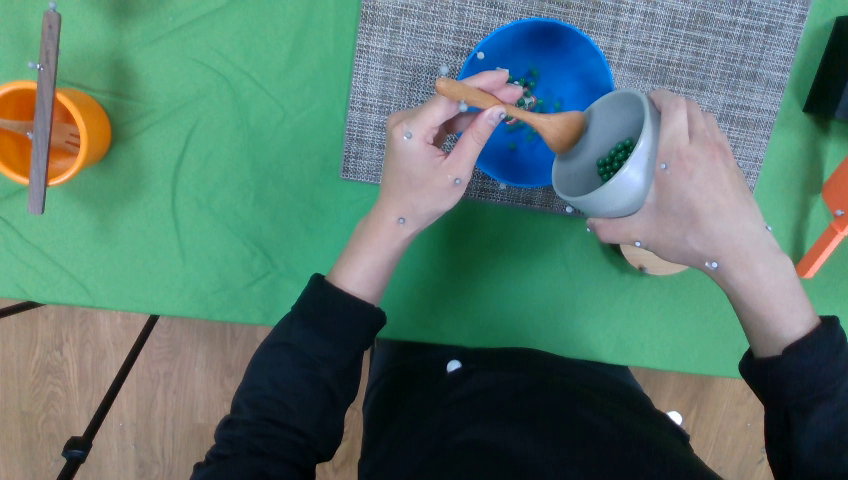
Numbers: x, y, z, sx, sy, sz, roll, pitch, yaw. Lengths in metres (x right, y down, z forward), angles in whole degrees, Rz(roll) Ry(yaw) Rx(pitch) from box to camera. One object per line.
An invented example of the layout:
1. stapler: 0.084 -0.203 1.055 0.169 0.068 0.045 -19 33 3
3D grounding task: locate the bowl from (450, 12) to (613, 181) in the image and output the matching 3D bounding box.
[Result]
1. bowl: 0.096 -0.137 0.584 0.151 0.076 0.152 -1 107 -5

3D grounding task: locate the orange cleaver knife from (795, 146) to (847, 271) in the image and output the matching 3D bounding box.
1. orange cleaver knife: 0.452 -0.055 0.642 0.012 0.076 0.213 3 136 -9

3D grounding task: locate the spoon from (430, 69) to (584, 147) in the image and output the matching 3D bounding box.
1. spoon: 0.071 -0.104 0.471 0.195 0.021 0.042 5 122 -43

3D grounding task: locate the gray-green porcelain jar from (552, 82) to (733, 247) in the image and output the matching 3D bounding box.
1. gray-green porcelain jar: 0.193 -0.059 0.529 0.127 0.105 0.106 27 103 -25

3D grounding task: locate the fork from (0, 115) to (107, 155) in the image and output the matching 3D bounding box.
1. fork: -0.379 -0.109 0.515 0.028 0.018 0.209 -52 148 17

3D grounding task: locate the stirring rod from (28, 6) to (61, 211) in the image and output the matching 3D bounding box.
1. stirring rod: -0.325 -0.109 0.519 0.014 0.006 0.176 11 106 -11

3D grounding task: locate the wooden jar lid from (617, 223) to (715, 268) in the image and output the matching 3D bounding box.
1. wooden jar lid: 0.263 -0.022 0.663 0.108 0.020 0.109 -1 112 -2
